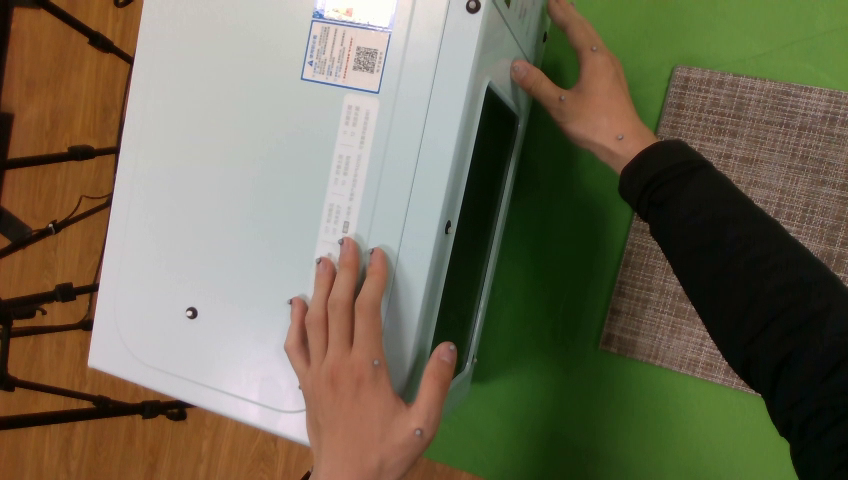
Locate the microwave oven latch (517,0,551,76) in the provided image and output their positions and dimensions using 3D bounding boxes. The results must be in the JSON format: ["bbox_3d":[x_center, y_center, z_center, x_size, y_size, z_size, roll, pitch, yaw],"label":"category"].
[{"bbox_3d":[0.110,-0.213,0.625,0.030,0.029,0.079,15,97,17],"label":"microwave oven latch"}]

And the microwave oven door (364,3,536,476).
[{"bbox_3d":[0.033,0.003,0.552,0.039,0.244,0.356,13,96,18],"label":"microwave oven door"}]

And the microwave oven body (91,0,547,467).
[{"bbox_3d":[-0.093,-0.069,0.596,0.324,0.261,0.442,13,96,17],"label":"microwave oven body"}]
